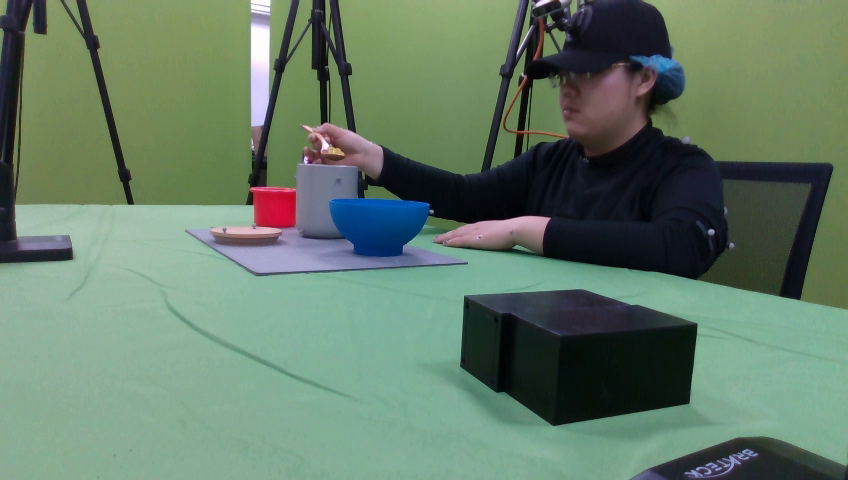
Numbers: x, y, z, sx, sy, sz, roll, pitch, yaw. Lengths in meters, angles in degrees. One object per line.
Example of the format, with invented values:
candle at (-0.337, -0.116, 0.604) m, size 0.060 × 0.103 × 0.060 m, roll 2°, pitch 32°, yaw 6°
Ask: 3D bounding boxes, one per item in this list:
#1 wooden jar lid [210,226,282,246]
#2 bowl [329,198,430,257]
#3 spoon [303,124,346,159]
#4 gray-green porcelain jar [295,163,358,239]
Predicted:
wooden jar lid at (-0.279, -0.007, 0.951) m, size 0.108 × 0.020 × 0.108 m, roll 2°, pitch 8°, yaw 0°
bowl at (-0.067, -0.019, 0.895) m, size 0.151 × 0.077 × 0.151 m, roll 3°, pitch 7°, yaw 0°
spoon at (-0.185, -0.181, 1.092) m, size 0.042 × 0.021 × 0.193 m, roll 2°, pitch 28°, yaw -29°
gray-green porcelain jar at (-0.170, -0.069, 1.054) m, size 0.106 × 0.126 × 0.106 m, roll 3°, pitch 7°, yaw 0°
